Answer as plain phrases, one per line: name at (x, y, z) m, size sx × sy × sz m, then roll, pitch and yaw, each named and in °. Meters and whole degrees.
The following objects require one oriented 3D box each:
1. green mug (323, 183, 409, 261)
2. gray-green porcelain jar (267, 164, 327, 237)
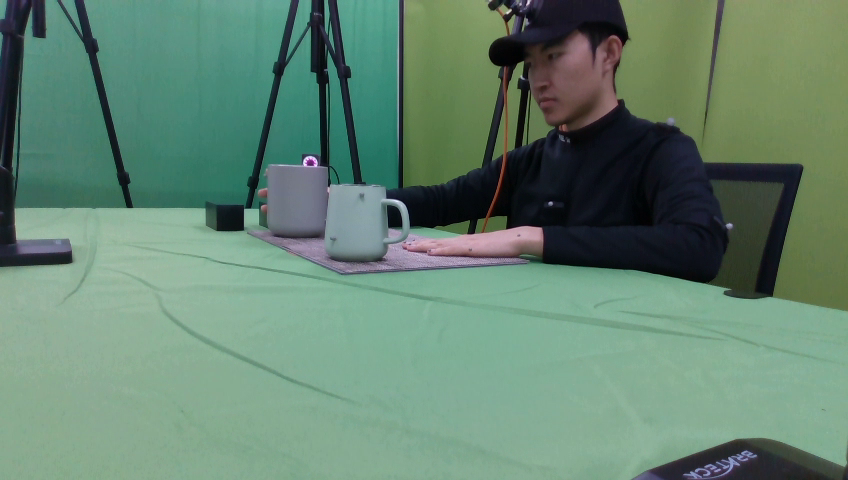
green mug at (-0.080, -0.026, 0.851) m, size 0.125 × 0.105 × 0.093 m, roll 5°, pitch 7°, yaw 20°
gray-green porcelain jar at (-0.227, -0.072, 1.086) m, size 0.106 × 0.126 × 0.106 m, roll 2°, pitch 7°, yaw 0°
